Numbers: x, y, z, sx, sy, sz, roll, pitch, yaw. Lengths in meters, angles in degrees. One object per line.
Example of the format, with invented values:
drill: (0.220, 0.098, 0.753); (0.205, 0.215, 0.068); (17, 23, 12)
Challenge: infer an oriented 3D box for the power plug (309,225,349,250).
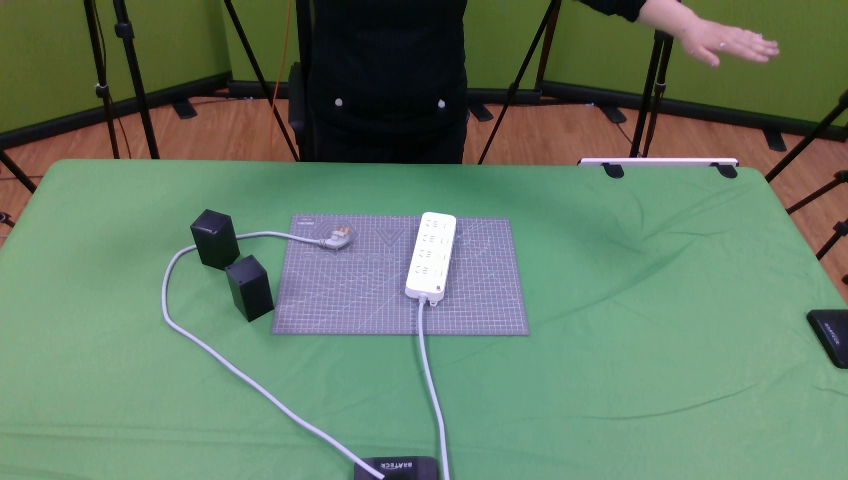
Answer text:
power plug: (-0.182, -0.010, 1.175); (0.072, 0.035, 0.052); (20, 65, 0)

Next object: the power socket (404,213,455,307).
power socket: (0.013, 0.029, 1.159); (0.072, 0.033, 0.225); (8, 46, 5)
